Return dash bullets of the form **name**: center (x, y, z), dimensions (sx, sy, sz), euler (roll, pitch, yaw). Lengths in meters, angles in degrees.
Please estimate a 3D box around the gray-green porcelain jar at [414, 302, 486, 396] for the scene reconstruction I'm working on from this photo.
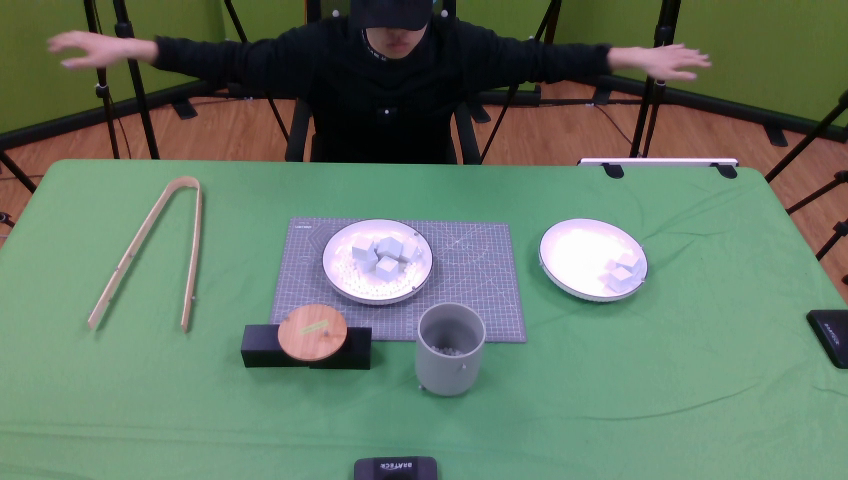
- **gray-green porcelain jar**: center (0.038, 0.177, 0.958), dimensions (0.106, 0.127, 0.105), euler (2, 46, -2)

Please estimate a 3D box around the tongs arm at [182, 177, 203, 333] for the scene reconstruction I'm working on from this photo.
- **tongs arm**: center (-0.441, 0.014, 1.148), dimensions (0.028, 0.028, 0.385), euler (-7, 47, -8)

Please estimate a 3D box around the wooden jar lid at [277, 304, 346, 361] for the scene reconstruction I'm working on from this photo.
- **wooden jar lid**: center (-0.179, 0.150, 0.972), dimensions (0.108, 0.021, 0.107), euler (2, 45, -2)

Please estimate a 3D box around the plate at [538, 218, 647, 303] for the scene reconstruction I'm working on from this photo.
- **plate**: center (0.322, 0.042, 1.171), dimensions (0.208, 0.039, 0.206), euler (2, 46, -2)

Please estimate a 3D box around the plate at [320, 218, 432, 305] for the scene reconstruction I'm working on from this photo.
- **plate**: center (-0.089, 0.044, 1.134), dimensions (0.209, 0.038, 0.208), euler (3, 46, -2)

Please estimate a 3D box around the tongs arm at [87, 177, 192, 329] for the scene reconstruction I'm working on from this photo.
- **tongs arm**: center (-0.523, 0.009, 1.139), dimensions (0.051, 0.026, 0.382), euler (5, 45, -2)
